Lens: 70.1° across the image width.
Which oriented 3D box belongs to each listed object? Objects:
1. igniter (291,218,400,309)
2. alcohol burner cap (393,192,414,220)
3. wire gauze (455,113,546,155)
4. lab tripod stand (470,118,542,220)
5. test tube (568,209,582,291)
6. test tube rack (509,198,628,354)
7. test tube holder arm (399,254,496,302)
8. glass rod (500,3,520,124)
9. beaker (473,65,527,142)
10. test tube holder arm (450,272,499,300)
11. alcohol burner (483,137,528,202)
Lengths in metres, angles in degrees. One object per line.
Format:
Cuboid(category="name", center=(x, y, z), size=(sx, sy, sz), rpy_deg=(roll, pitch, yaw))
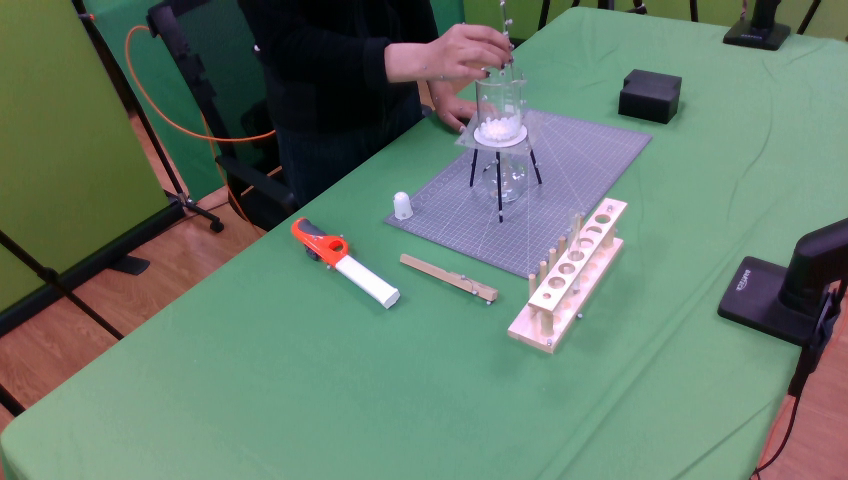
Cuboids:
Cuboid(category="igniter", center=(-0.136, 0.031, 0.970), size=(0.057, 0.025, 0.274), rpy_deg=(-41, 49, -19))
Cuboid(category="alcohol burner cap", center=(-0.038, -0.061, 1.043), size=(0.034, 0.048, 0.033), rpy_deg=(-5, 41, 5))
Cuboid(category="wire gauze", center=(0.124, -0.175, 0.973), size=(0.124, 0.011, 0.121), rpy_deg=(8, 40, 21))
Cuboid(category="lab tripod stand", center=(0.135, -0.128, 1.019), size=(0.148, 0.132, 0.147), rpy_deg=(-5, 38, 5))
Cuboid(category="test tube", center=(0.200, 0.018, 0.799), size=(0.017, 0.151, 0.017), rpy_deg=(-8, 45, 8))
Cuboid(category="test tube rack", center=(0.206, 0.039, 0.850), size=(0.066, 0.085, 0.243), rpy_deg=(20, 48, 31))
Cuboid(category="test tube holder arm", center=(0.032, 0.055, 0.914), size=(0.177, 0.015, 0.013), rpy_deg=(21, 15, 32))
Cuboid(category="glass rod", center=(0.131, -0.258, 0.908), size=(0.008, 0.201, 0.008), rpy_deg=(-9, 43, 9))
Cuboid(category="beaker", center=(0.120, -0.211, 0.942), size=(0.083, 0.101, 0.074), rpy_deg=(10, 42, 22))
Cuboid(category="test tube holder arm", center=(0.071, 0.068, 0.894), size=(0.087, 0.015, 0.010), rpy_deg=(21, 15, 33))
Cuboid(category="alcohol burner", center=(0.138, -0.125, 1.030), size=(0.078, 0.119, 0.077), rpy_deg=(-4, 41, 4))
